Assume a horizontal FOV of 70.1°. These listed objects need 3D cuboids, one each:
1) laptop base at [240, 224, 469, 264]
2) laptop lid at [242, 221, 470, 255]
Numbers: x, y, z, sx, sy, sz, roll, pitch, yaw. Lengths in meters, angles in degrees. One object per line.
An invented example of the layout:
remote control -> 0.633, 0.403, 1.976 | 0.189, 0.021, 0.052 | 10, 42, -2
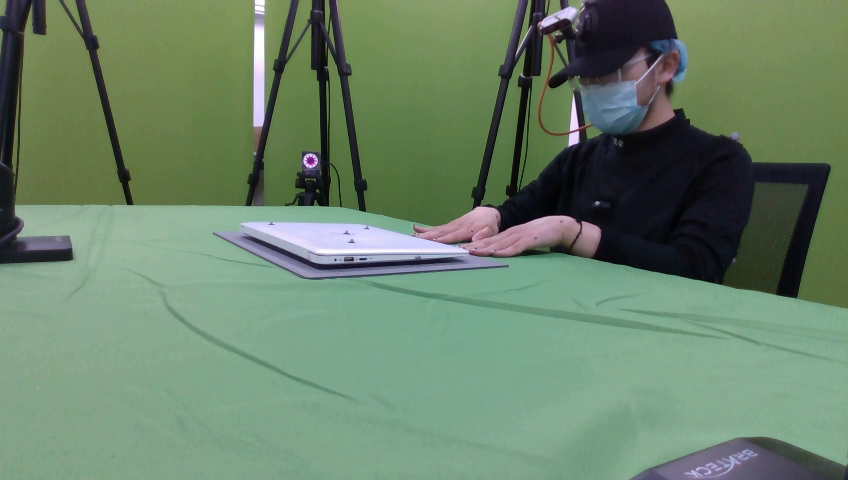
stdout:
laptop base -> -0.123, 0.005, 0.936 | 0.237, 0.023, 0.352 | 2, 6, -33
laptop lid -> -0.121, -0.007, 0.936 | 0.243, 0.013, 0.355 | 1, 7, -31
